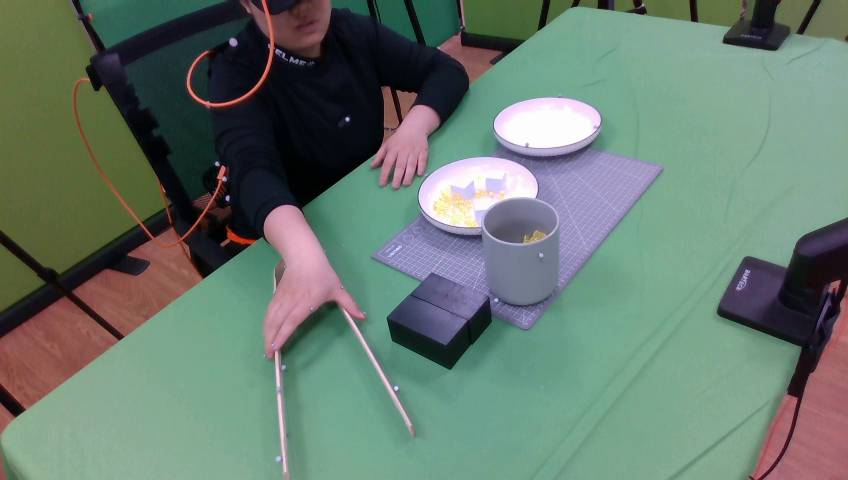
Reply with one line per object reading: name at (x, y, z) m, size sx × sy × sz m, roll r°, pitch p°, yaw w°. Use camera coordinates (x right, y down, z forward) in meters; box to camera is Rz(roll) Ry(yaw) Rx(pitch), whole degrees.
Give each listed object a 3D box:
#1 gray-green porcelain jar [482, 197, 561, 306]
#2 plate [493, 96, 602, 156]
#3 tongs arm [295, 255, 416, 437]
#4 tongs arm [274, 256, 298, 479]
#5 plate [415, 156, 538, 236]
gray-green porcelain jar at (0.138, 0.020, 0.846) m, size 0.106 × 0.127 × 0.105 m, roll -5°, pitch 40°, yaw 5°
plate at (0.238, -0.218, 1.180) m, size 0.209 × 0.038 × 0.208 m, roll -4°, pitch 39°, yaw 4°
tongs arm at (-0.105, 0.128, 0.846) m, size 0.028 × 0.028 × 0.384 m, roll -26°, pitch 42°, yaw -16°
tongs arm at (-0.181, 0.151, 0.828) m, size 0.051 × 0.026 × 0.382 m, roll -15°, pitch 39°, yaw -8°
plate at (0.090, -0.072, 1.034) m, size 0.207 × 0.039 × 0.206 m, roll -5°, pitch 40°, yaw 5°
